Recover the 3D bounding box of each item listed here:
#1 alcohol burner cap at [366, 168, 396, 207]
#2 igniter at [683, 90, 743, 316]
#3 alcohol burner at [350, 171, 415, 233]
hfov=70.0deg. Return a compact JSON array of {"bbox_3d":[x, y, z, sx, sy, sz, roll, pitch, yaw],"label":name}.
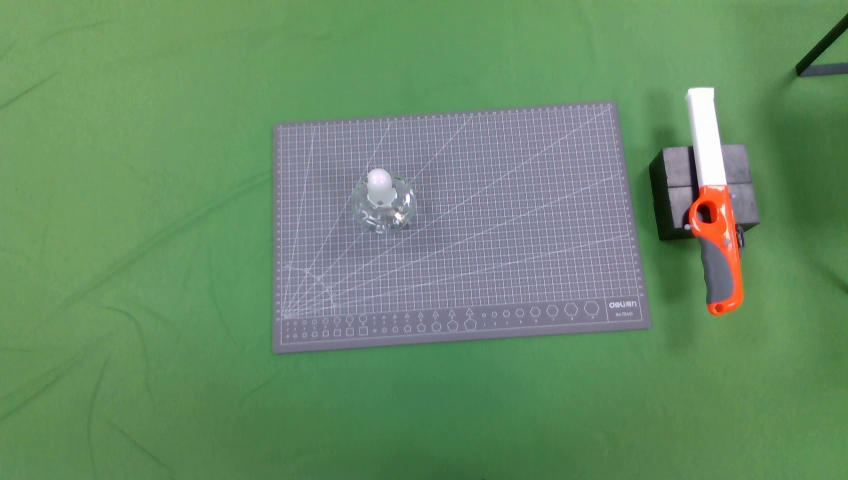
[{"bbox_3d":[-0.050,-0.060,0.672,0.034,0.048,0.033,-1,67,3],"label":"alcohol burner cap"},{"bbox_3d":[0.331,-0.049,0.701,0.057,0.025,0.275,0,73,4],"label":"igniter"},{"bbox_3d":[-0.049,-0.050,0.707,0.078,0.119,0.077,0,73,-1],"label":"alcohol burner"}]
